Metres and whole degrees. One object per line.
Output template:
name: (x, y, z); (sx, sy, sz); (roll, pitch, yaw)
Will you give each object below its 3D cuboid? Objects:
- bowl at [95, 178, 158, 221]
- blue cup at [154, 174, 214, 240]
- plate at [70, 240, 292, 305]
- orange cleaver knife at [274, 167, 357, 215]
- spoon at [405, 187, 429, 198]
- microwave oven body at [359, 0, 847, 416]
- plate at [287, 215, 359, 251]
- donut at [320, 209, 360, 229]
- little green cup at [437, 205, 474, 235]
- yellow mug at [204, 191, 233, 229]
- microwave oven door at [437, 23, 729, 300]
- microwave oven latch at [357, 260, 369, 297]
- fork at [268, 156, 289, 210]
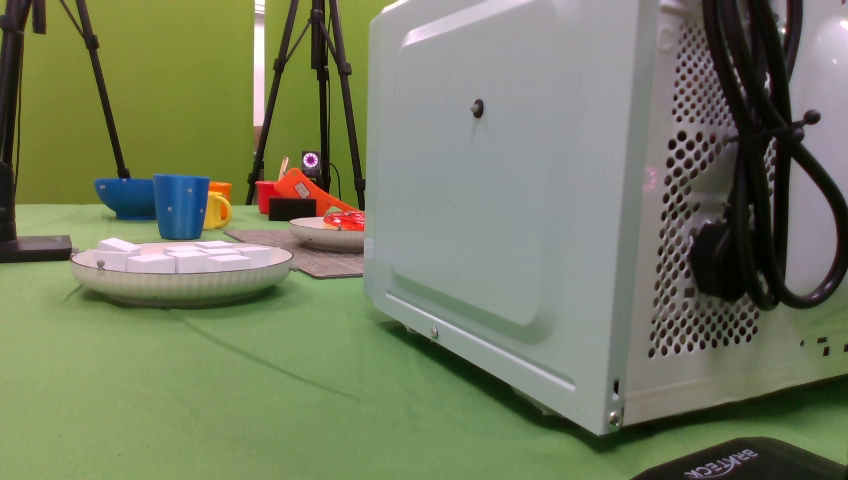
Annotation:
bowl: (-0.576, -0.081, 1.217); (0.151, 0.077, 0.151); (3, 8, 0)
blue cup: (-0.390, -0.053, 0.978); (0.093, 0.100, 0.092); (3, 6, 0)
plate: (-0.242, 0.031, 0.618); (0.208, 0.039, 0.207); (2, 8, 0)
orange cleaver knife: (-0.238, -0.091, 1.381); (0.212, 0.077, 0.012); (31, 0, -19)
spoon: (-0.006, -0.091, 1.134); (0.041, 0.021, 0.194); (-1, 6, 5)
microwave oven body: (0.211, -0.047, 0.474); (0.444, 0.260, 0.324); (-1, 8, -28)
plate: (-0.111, -0.012, 0.960); (0.209, 0.038, 0.209); (3, 8, 0)
donut: (-0.115, -0.023, 0.961); (0.099, 0.048, 0.099); (5, 9, 0)
little green cup: (0.057, -0.034, 1.033); (0.061, 0.038, 0.061); (-16, 6, 2)
yellow mug: (-0.415, -0.057, 1.132); (0.130, 0.064, 0.100); (6, 8, 16)
microwave oven door: (0.181, -0.072, 0.621); (0.358, 0.243, 0.039); (-2, 9, -29)
microwave oven latch: (-0.019, 0.033, 0.531); (0.079, 0.029, 0.030); (-1, 7, -27)
fork: (-0.360, -0.144, 1.508); (0.028, 0.018, 0.207); (1, 49, 0)
